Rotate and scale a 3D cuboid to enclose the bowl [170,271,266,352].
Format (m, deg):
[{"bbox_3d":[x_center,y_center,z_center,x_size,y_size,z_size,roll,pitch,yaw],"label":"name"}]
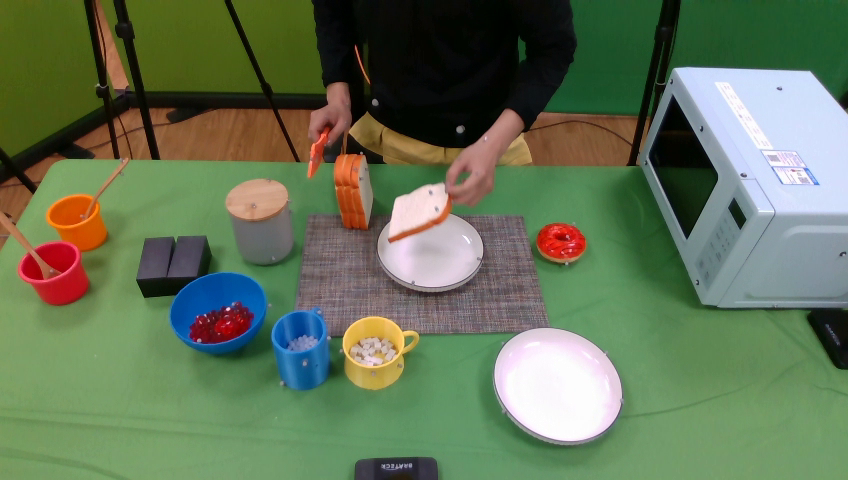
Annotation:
[{"bbox_3d":[-0.333,0.132,1.006,0.151,0.077,0.150,2,46,-2],"label":"bowl"}]

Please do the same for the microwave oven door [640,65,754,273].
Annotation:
[{"bbox_3d":[0.523,-0.147,1.193,0.039,0.245,0.353,0,47,-3],"label":"microwave oven door"}]

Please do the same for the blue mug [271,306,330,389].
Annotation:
[{"bbox_3d":[-0.188,0.163,0.969,0.082,0.106,0.116,15,47,10],"label":"blue mug"}]

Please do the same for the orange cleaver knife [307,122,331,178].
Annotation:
[{"bbox_3d":[-0.213,-0.187,1.235,0.012,0.077,0.210,10,26,-3],"label":"orange cleaver knife"}]

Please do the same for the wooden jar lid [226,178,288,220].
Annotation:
[{"bbox_3d":[-0.296,-0.070,1.081,0.108,0.021,0.107,1,45,-1],"label":"wooden jar lid"}]

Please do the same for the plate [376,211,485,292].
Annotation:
[{"bbox_3d":[0.012,0.021,1.159,0.209,0.038,0.208,2,47,-2],"label":"plate"}]

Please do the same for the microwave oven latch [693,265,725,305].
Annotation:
[{"bbox_3d":[0.522,0.081,1.115,0.030,0.029,0.078,2,46,-1],"label":"microwave oven latch"}]

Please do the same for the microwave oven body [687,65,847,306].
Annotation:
[{"bbox_3d":[0.669,-0.111,1.176,0.326,0.261,0.439,0,46,-3],"label":"microwave oven body"}]

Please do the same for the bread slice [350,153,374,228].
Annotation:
[{"bbox_3d":[-0.123,-0.103,1.206,0.018,0.135,0.106,-2,47,7],"label":"bread slice"}]

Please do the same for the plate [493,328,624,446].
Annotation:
[{"bbox_3d":[0.213,0.236,0.974,0.208,0.039,0.206,2,46,-2],"label":"plate"}]

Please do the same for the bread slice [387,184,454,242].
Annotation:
[{"bbox_3d":[-0.006,-0.056,1.097,0.131,0.019,0.104,-17,45,29],"label":"bread slice"}]

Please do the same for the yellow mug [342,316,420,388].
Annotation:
[{"bbox_3d":[-0.067,0.177,0.990,0.131,0.064,0.099,-15,50,-19],"label":"yellow mug"}]

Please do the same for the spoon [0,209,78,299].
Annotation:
[{"bbox_3d":[-0.668,0.021,1.040,0.041,0.021,0.194,-41,105,-30],"label":"spoon"}]

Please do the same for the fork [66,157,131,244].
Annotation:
[{"bbox_3d":[-0.608,-0.074,1.132,0.207,0.019,0.028,-52,48,10],"label":"fork"}]

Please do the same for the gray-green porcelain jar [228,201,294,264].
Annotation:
[{"bbox_3d":[-0.300,-0.027,1.126,0.106,0.127,0.105,2,46,-2],"label":"gray-green porcelain jar"}]

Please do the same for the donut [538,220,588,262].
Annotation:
[{"bbox_3d":[0.273,0.000,1.198,0.099,0.048,0.098,0,46,0],"label":"donut"}]
